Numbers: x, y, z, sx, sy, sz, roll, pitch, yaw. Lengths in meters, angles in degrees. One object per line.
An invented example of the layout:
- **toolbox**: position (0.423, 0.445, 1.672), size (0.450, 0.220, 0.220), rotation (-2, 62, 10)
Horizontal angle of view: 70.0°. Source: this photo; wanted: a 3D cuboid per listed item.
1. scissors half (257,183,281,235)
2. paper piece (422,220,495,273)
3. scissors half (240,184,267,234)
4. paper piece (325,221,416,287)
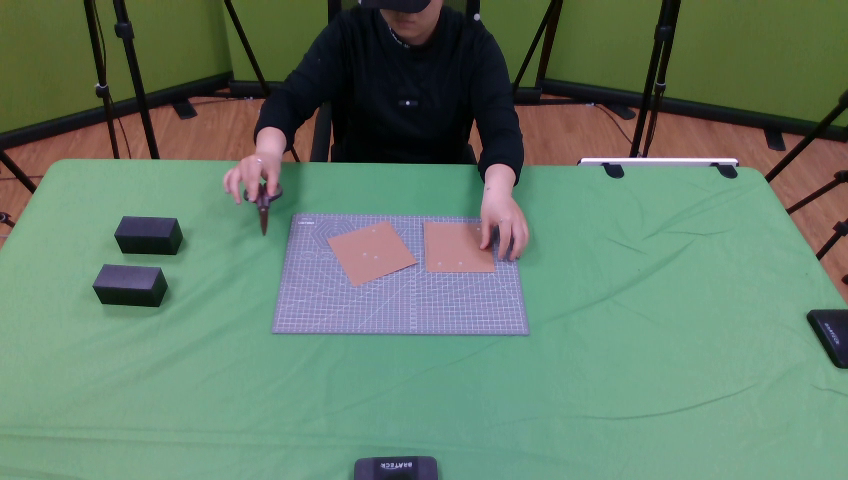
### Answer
- **scissors half**: position (-0.295, -0.061, 1.142), size (0.040, 0.013, 0.174), rotation (-4, 36, -3)
- **paper piece**: position (0.066, 0.012, 1.197), size (0.138, 0.009, 0.135), rotation (2, 50, -4)
- **scissors half**: position (-0.315, -0.058, 1.137), size (0.040, 0.013, 0.174), rotation (-12, 38, -21)
- **paper piece**: position (-0.105, 0.022, 1.174), size (0.135, 0.004, 0.135), rotation (-19, 50, -21)
